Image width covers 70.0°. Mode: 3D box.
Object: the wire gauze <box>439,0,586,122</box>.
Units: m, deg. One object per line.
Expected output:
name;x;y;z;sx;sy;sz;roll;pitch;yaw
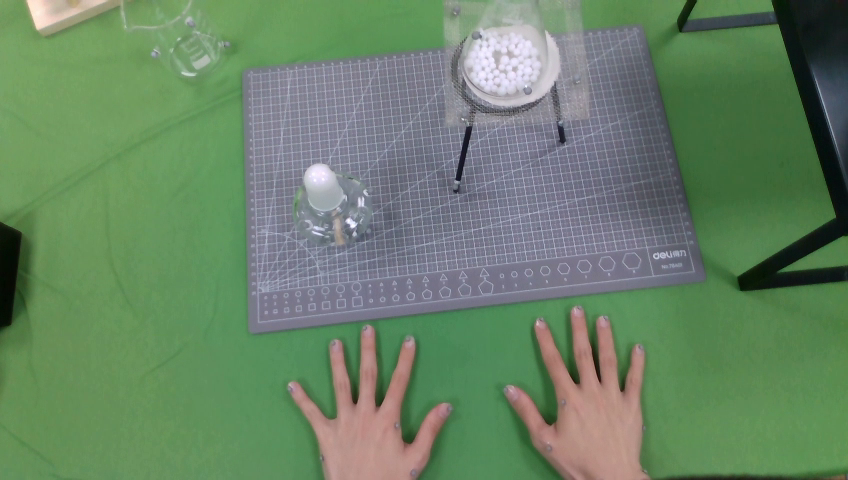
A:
wire gauze;0.074;-0.158;0.520;0.121;0.011;0.124;-1;71;-1

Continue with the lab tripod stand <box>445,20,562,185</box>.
lab tripod stand;0.070;-0.134;0.582;0.148;0.132;0.147;0;71;1

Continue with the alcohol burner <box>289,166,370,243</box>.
alcohol burner;-0.091;-0.040;0.570;0.078;0.120;0.077;0;71;0

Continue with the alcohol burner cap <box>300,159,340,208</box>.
alcohol burner cap;-0.094;-0.053;0.535;0.034;0.048;0.033;0;66;0

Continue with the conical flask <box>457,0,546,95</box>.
conical flask;0.064;-0.172;0.462;0.075;0.122;0.075;0;73;2

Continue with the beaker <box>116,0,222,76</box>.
beaker;-0.267;-0.227;0.642;0.073;0.101;0.084;39;79;13

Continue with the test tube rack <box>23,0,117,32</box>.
test tube rack;-0.355;-0.333;0.684;0.242;0.085;0.066;-26;74;-6
